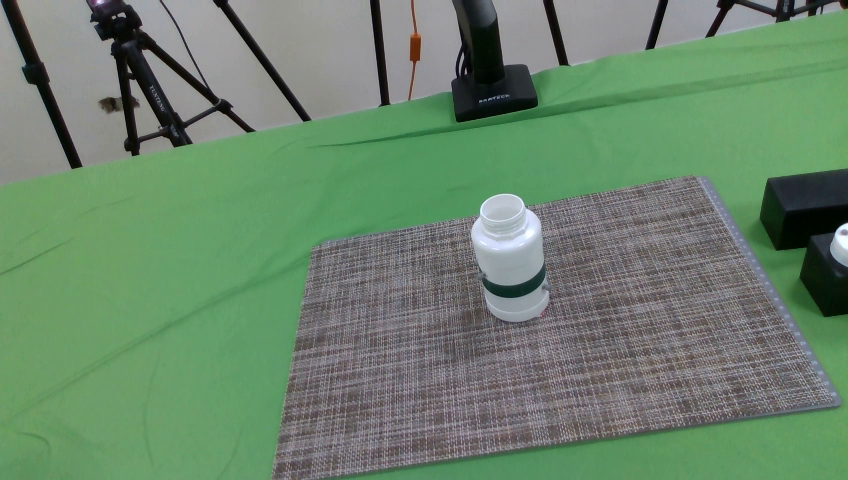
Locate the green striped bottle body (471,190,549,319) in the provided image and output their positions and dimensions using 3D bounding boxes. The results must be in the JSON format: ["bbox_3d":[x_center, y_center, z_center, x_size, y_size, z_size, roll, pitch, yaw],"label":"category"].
[{"bbox_3d":[0.079,0.012,0.558,0.063,0.120,0.062,-9,42,8],"label":"green striped bottle body"}]

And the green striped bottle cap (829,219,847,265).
[{"bbox_3d":[0.356,0.002,0.491,0.044,0.020,0.044,-7,42,7],"label":"green striped bottle cap"}]
